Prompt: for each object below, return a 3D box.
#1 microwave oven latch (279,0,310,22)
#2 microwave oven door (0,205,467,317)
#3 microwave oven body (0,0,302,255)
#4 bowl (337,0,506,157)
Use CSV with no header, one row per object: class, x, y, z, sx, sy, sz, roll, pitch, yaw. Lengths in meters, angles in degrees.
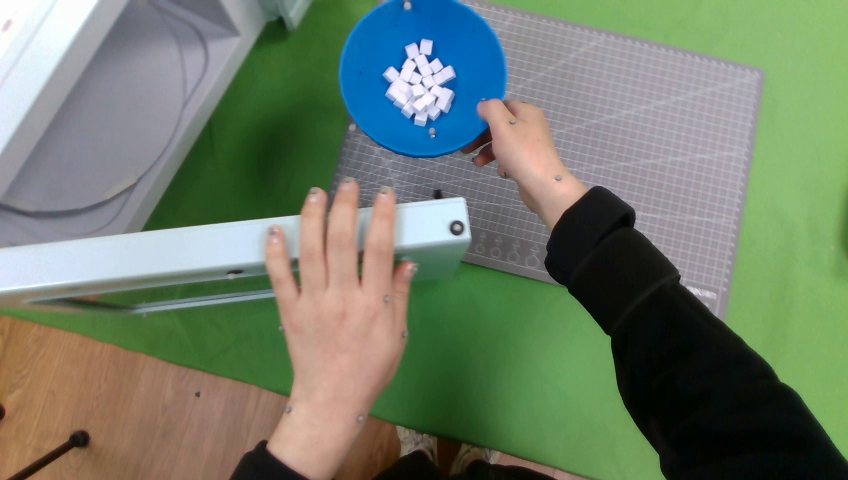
microwave oven latch,-0.132,-0.282,0.663,0.030,0.029,0.079,31,83,3
microwave oven door,-0.147,0.023,0.516,0.356,0.244,0.039,-7,80,-2
microwave oven body,-0.344,-0.212,0.550,0.326,0.261,0.441,28,83,2
bowl,-0.002,-0.143,0.573,0.151,0.077,0.151,0,83,-2
